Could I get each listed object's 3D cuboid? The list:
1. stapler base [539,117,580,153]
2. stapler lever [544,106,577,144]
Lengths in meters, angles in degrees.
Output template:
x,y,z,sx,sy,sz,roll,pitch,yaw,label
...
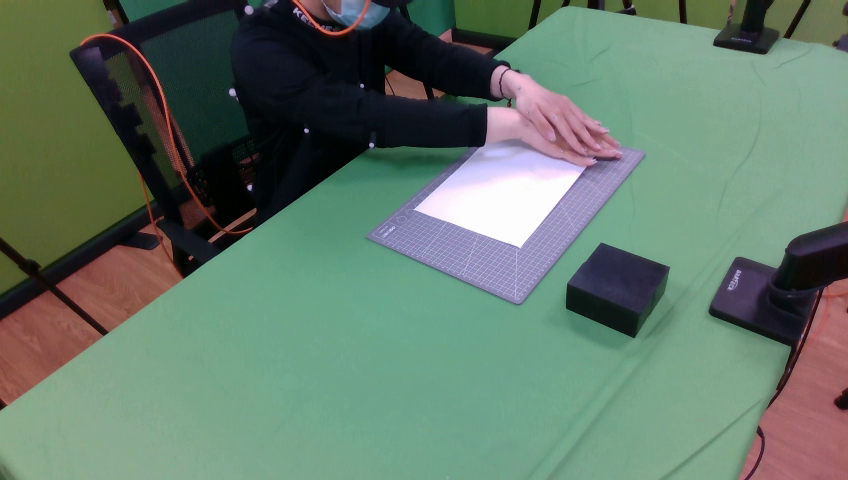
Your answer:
x,y,z,sx,sy,sz,roll,pitch,yaw,label
0.264,-0.213,1.175,0.041,0.024,0.131,21,46,22,stapler base
0.263,-0.228,1.162,0.026,0.040,0.118,21,52,23,stapler lever
